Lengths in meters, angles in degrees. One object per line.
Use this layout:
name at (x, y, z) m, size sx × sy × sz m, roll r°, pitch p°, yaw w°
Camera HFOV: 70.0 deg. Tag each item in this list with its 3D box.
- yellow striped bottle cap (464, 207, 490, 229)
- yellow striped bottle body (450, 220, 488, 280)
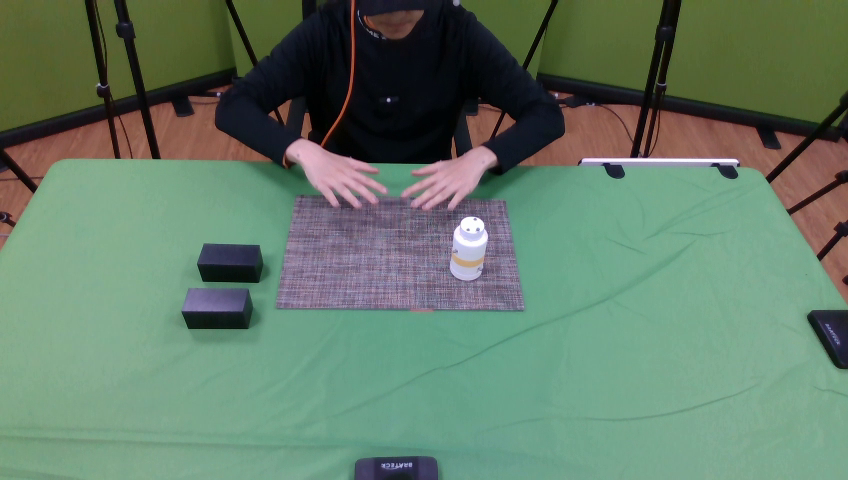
yellow striped bottle cap at (0.092, -0.039, 1.063) m, size 0.044 × 0.019 × 0.044 m, roll 5°, pitch 39°, yaw -4°
yellow striped bottle body at (0.083, 0.012, 1.117) m, size 0.063 × 0.121 × 0.062 m, roll 2°, pitch 46°, yaw -2°
